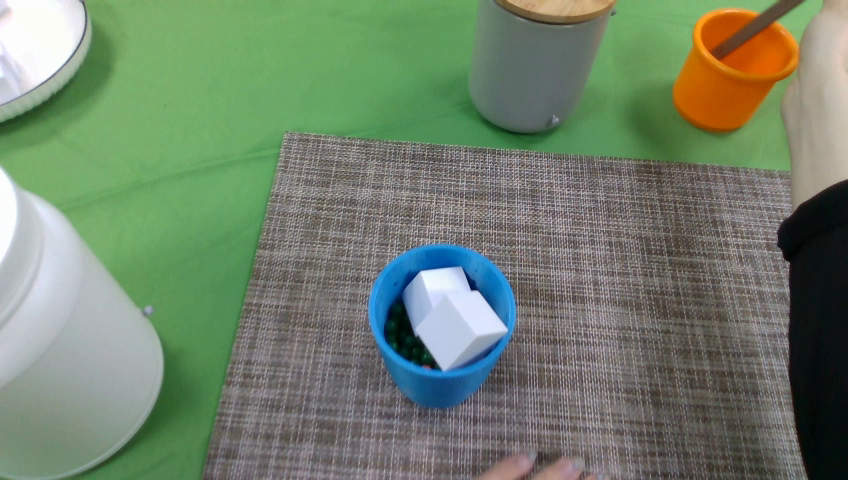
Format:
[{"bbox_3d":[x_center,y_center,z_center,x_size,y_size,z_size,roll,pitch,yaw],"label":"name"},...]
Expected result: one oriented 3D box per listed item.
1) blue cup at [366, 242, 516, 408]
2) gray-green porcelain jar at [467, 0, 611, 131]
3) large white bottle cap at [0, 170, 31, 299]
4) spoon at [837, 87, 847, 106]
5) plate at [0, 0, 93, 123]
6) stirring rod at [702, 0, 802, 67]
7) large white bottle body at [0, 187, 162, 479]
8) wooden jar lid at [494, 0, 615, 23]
[{"bbox_3d":[0.009,0.063,0.384,0.093,0.101,0.092,1,59,-1],"label":"blue cup"},{"bbox_3d":[0.092,-0.166,0.519,0.106,0.127,0.105,1,58,-2],"label":"gray-green porcelain jar"},{"bbox_3d":[-0.234,0.004,0.260,0.115,0.018,0.114,2,58,-2],"label":"large white bottle cap"},{"bbox_3d":[0.453,-0.125,0.506,0.041,0.022,0.192,-35,22,-22],"label":"spoon"},{"bbox_3d":[-0.403,-0.171,0.544,0.208,0.039,0.205,2,58,-2],"label":"plate"},{"bbox_3d":[0.299,-0.197,0.478,0.006,0.176,0.014,4,62,-36],"label":"stirring rod"},{"bbox_3d":[-0.238,0.050,0.332,0.131,0.186,0.129,2,58,-2],"label":"large white bottle body"},{"bbox_3d":[0.095,-0.198,0.466,0.108,0.021,0.107,2,55,-2],"label":"wooden jar lid"}]
